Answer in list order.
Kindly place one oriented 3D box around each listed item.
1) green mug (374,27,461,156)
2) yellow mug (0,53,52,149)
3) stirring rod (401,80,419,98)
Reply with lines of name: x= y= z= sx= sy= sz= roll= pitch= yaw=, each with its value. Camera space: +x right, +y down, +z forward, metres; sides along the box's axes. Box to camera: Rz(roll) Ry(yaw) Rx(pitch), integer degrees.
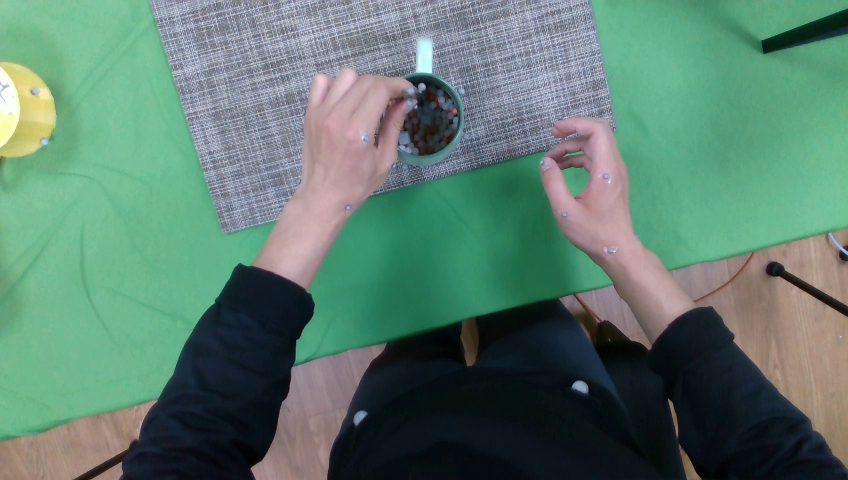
green mug: x=-0.006 y=-0.148 z=0.607 sx=0.092 sy=0.104 sz=0.125 roll=2 pitch=98 yaw=-2
yellow mug: x=-0.450 y=-0.128 z=0.614 sx=0.100 sy=0.064 sz=0.131 roll=17 pitch=98 yaw=-5
stirring rod: x=-0.013 y=-0.137 z=0.552 sx=0.014 sy=0.175 sz=0.006 roll=-14 pitch=101 yaw=1
